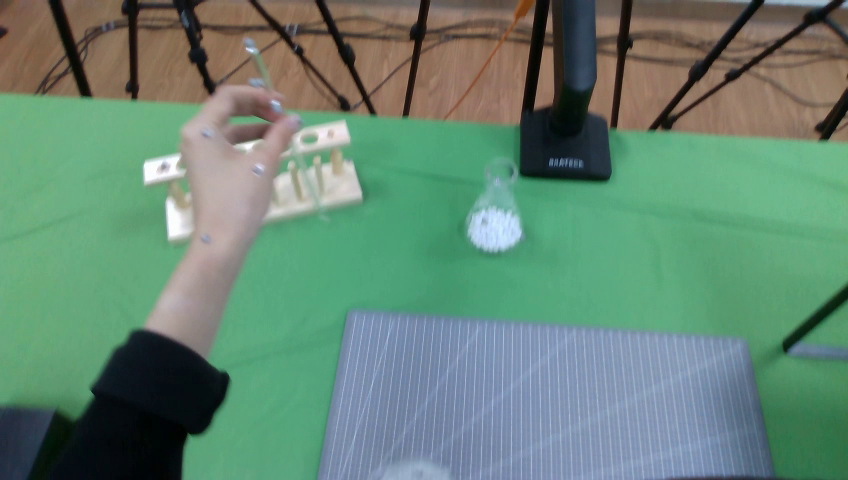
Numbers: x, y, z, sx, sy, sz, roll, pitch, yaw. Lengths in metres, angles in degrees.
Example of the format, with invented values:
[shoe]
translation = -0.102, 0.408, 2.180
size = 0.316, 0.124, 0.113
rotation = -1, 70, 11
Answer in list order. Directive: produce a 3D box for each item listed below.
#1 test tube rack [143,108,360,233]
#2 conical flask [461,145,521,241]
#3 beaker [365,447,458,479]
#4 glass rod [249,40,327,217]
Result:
[test tube rack]
translation = -0.209, -0.086, 0.756
size = 0.243, 0.086, 0.066
rotation = -14, 59, -8
[conical flask]
translation = 0.083, -0.059, 0.714
size = 0.075, 0.123, 0.074
rotation = 0, 57, 1
[beaker]
translation = -0.011, 0.234, 0.542
size = 0.083, 0.101, 0.073
rotation = 21, 60, 15
[glass rod]
translation = -0.103, -0.076, 0.482
size = 0.008, 0.201, 0.008
rotation = -3, 58, 5
